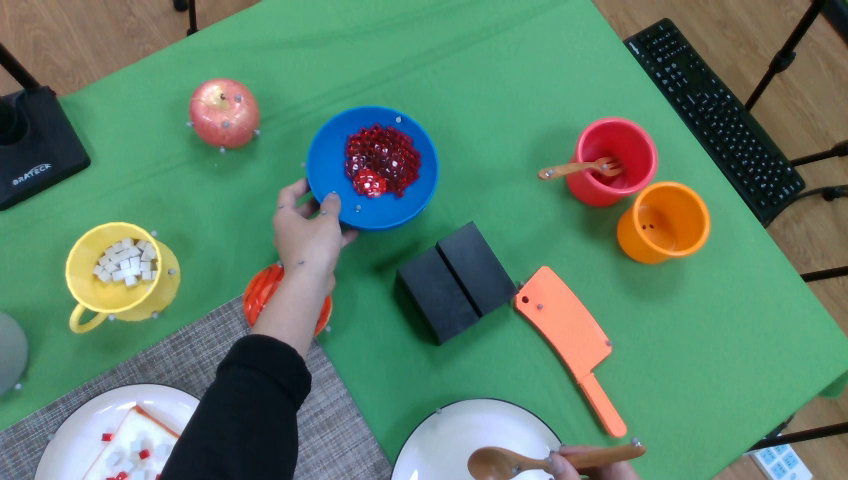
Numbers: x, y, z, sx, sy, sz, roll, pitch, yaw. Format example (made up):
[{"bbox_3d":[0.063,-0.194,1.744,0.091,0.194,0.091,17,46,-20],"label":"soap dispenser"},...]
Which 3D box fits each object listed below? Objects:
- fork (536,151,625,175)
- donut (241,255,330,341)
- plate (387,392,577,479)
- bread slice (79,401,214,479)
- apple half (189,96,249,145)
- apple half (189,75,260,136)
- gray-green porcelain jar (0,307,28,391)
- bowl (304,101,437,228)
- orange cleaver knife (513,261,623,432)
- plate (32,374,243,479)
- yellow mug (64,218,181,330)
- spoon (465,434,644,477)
[{"bbox_3d":[0.186,-0.089,0.706,0.208,0.018,0.028,-13,73,-51],"label":"fork"},{"bbox_3d":[-0.157,0.066,0.687,0.099,0.048,0.098,1,77,-5],"label":"donut"},{"bbox_3d":[0.062,0.272,0.662,0.209,0.038,0.208,1,76,-4],"label":"plate"},{"bbox_3d":[-0.302,0.253,0.633,0.105,0.019,0.131,31,74,3],"label":"bread slice"},{"bbox_3d":[-0.246,-0.131,0.715,0.081,0.081,0.032,24,70,2],"label":"apple half"},{"bbox_3d":[-0.231,-0.165,0.726,0.080,0.075,0.053,24,69,5],"label":"apple half"},{"bbox_3d":[-0.479,0.109,0.610,0.106,0.127,0.105,1,75,-4],"label":"gray-green porcelain jar"},{"bbox_3d":[-0.062,-0.079,0.716,0.151,0.077,0.150,2,76,-6],"label":"bowl"},{"bbox_3d":[0.183,0.123,0.720,0.077,0.012,0.210,-29,79,-17],"label":"orange cleaver knife"},{"bbox_3d":[-0.294,0.247,0.634,0.208,0.039,0.206,1,76,-4],"label":"plate"},{"bbox_3d":[-0.341,0.045,0.669,0.100,0.064,0.130,34,77,4],"label":"yellow mug"},{"bbox_3d":[0.108,0.190,0.535,0.021,0.193,0.042,-37,98,-43],"label":"spoon"}]
